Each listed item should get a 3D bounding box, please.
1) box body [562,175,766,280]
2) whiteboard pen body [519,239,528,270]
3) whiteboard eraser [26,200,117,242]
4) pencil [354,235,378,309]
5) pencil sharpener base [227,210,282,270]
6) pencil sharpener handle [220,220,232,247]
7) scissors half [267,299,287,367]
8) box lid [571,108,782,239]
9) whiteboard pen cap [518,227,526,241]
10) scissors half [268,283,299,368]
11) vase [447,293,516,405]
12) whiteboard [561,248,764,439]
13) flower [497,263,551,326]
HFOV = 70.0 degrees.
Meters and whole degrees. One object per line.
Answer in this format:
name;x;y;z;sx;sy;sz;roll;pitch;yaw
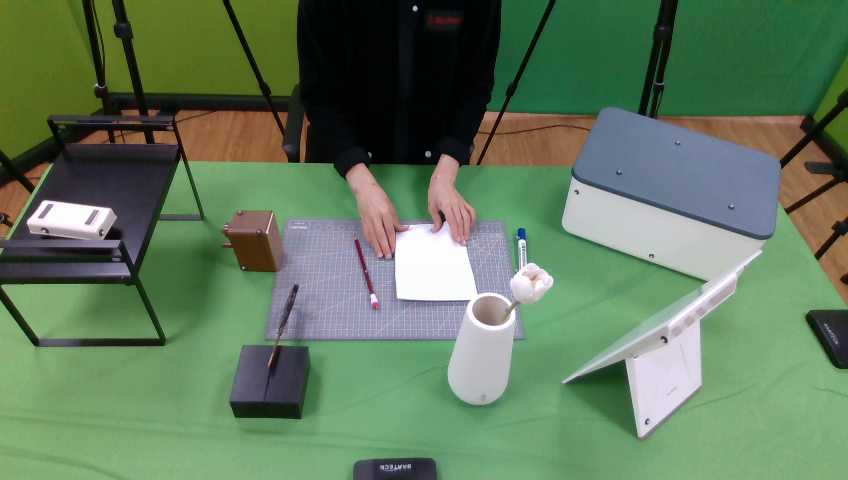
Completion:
box body;0.486;-0.088;1.222;0.363;0.161;0.253;20;48;15
whiteboard pen body;0.193;0.035;1.181;0.017;0.017;0.140;6;48;1
whiteboard eraser;-0.532;-0.026;0.919;0.113;0.042;0.055;7;45;3
pencil;-0.113;0.055;1.143;0.012;0.012;0.192;-10;46;-13
pencil sharpener base;-0.311;0.001;1.112;0.077;0.107;0.061;0;47;1
pencil sharpener handle;-0.362;-0.009;1.105;0.030;0.068;0.036;0;52;1
scissors half;-0.239;0.150;0.997;0.013;0.040;0.174;24;24;-13
box lid;0.491;-0.139;1.168;0.370;0.015;0.262;21;49;15
whiteboard pen cap;0.197;-0.009;1.220;0.018;0.018;0.033;5;50;1
scissors half;-0.230;0.135;0.986;0.013;0.040;0.174;19;43;-11
vase;0.091;0.169;0.921;0.098;0.201;0.097;3;47;-3
whiteboard;0.386;0.176;0.905;0.217;0.306;0.143;-26;72;-27
flower;0.102;0.121;0.852;0.044;0.363;0.038;-2;64;-10
